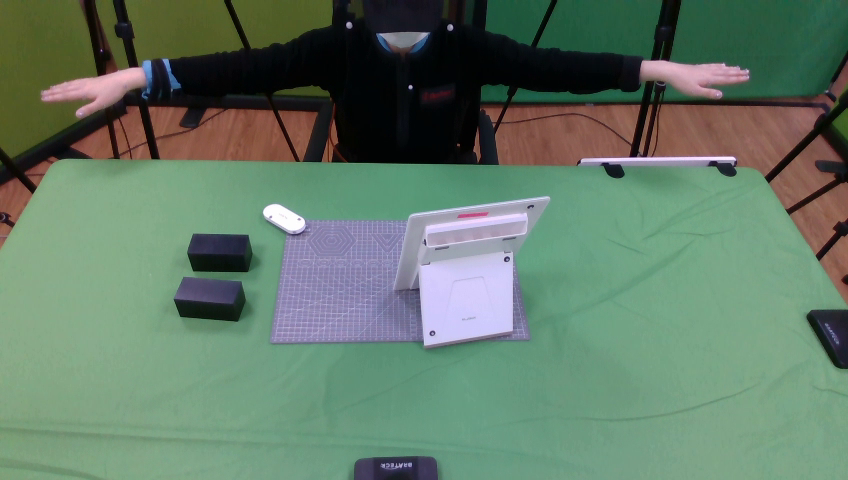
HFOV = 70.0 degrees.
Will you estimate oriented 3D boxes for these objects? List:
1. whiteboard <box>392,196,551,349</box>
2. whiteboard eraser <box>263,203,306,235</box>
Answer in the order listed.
[{"bbox_3d":[0.077,0.071,0.977,0.217,0.306,0.143,-7,67,-11],"label":"whiteboard"},{"bbox_3d":[-0.281,-0.043,1.216,0.101,0.019,0.041,29,53,25],"label":"whiteboard eraser"}]
